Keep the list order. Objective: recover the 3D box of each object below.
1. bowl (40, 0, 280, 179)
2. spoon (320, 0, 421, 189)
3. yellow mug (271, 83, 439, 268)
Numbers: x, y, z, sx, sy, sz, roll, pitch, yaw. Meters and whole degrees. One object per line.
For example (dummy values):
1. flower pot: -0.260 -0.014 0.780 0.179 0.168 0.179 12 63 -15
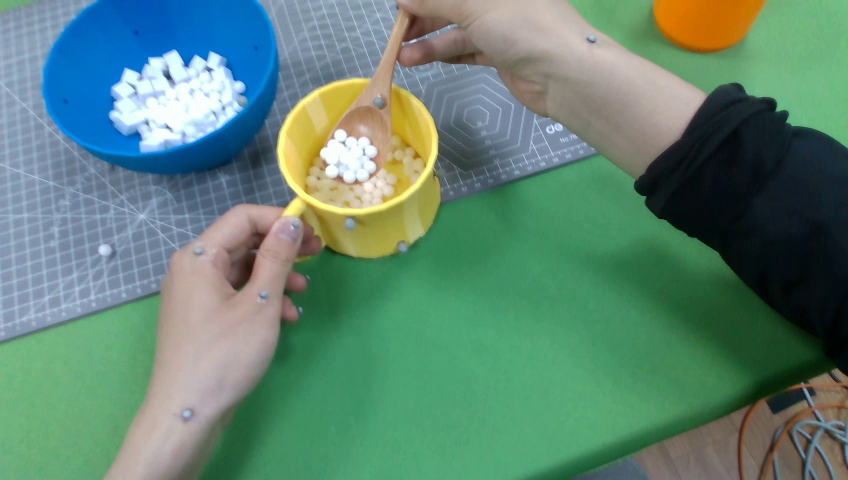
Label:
1. bowl: -0.168 -0.097 0.422 0.151 0.077 0.150 -1 65 2
2. spoon: -0.016 -0.122 0.377 0.041 0.022 0.193 22 92 13
3. yellow mug: -0.050 -0.033 0.395 0.099 0.064 0.130 35 71 18
